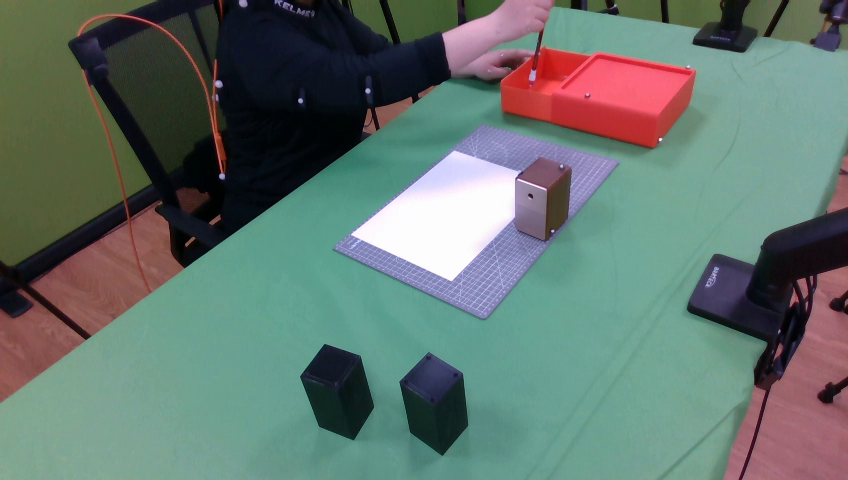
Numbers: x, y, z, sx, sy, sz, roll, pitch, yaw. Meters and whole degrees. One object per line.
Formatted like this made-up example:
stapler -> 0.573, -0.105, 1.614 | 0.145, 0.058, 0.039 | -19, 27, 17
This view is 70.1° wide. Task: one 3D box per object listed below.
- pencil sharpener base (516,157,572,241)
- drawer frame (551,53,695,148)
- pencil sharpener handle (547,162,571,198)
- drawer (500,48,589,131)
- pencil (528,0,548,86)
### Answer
pencil sharpener base -> 0.189, -0.065, 0.948 | 0.061, 0.107, 0.077 | 24, 49, 33
drawer frame -> 0.390, -0.281, 1.196 | 0.212, 0.083, 0.202 | 22, 48, 30
pencil sharpener handle -> 0.221, -0.101, 0.968 | 0.035, 0.068, 0.031 | 20, 47, 37
drawer -> 0.296, -0.315, 1.257 | 0.210, 0.073, 0.195 | 22, 47, 29
pencil -> 0.219, -0.386, 1.148 | 0.012, 0.194, 0.012 | 3, 37, -2
